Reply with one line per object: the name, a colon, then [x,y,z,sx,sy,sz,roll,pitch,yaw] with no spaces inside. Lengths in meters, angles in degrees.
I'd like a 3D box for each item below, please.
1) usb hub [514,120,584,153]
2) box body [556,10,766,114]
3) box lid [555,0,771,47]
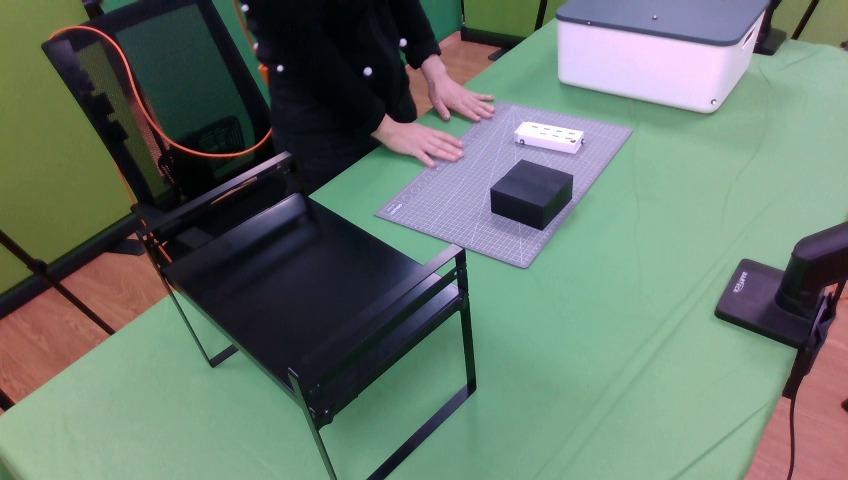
usb hub: [0.240,-0.200,1.165,0.124,0.025,0.049,17,46,26]
box body: [0.491,-0.419,1.283,0.361,0.161,0.255,22,49,30]
box lid: [0.481,-0.475,1.236,0.368,0.015,0.264,22,49,30]
